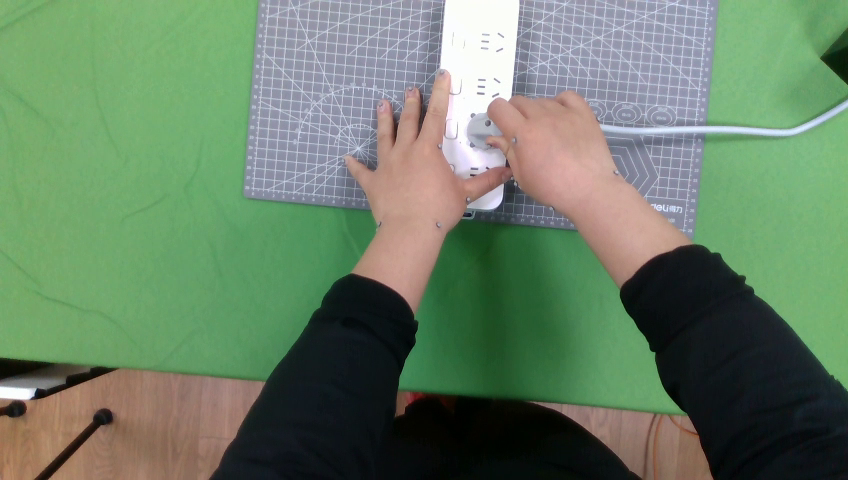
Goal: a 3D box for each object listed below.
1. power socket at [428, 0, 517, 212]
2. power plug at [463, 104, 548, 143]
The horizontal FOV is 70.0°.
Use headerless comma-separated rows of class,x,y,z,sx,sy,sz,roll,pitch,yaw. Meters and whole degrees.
power socket,0.046,-0.141,0.583,0.072,0.032,0.226,4,92,-1
power plug,0.072,-0.103,0.566,0.072,0.052,0.035,19,91,-3
